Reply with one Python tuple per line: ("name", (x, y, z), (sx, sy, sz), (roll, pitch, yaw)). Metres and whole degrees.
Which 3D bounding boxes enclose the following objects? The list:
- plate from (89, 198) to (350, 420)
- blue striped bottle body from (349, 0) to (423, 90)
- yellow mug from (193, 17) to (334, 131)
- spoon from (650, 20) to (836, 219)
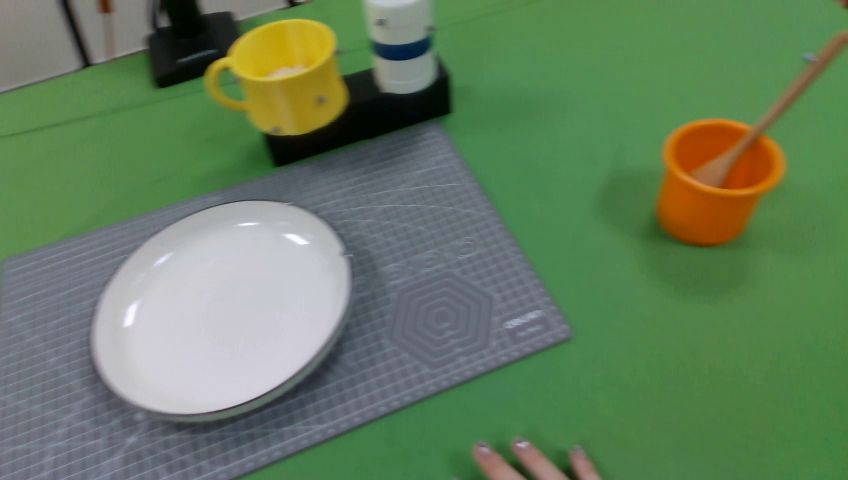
("plate", (-0.162, 0.053, 0.500), (0.207, 0.039, 0.205), (-3, 51, 4))
("blue striped bottle body", (-0.037, -0.212, 0.584), (0.063, 0.122, 0.062), (-3, 51, 4))
("yellow mug", (-0.159, -0.160, 0.591), (0.131, 0.064, 0.099), (-10, 50, -1))
("spoon", (0.259, -0.096, 0.501), (0.194, 0.022, 0.041), (-51, 50, 17))
